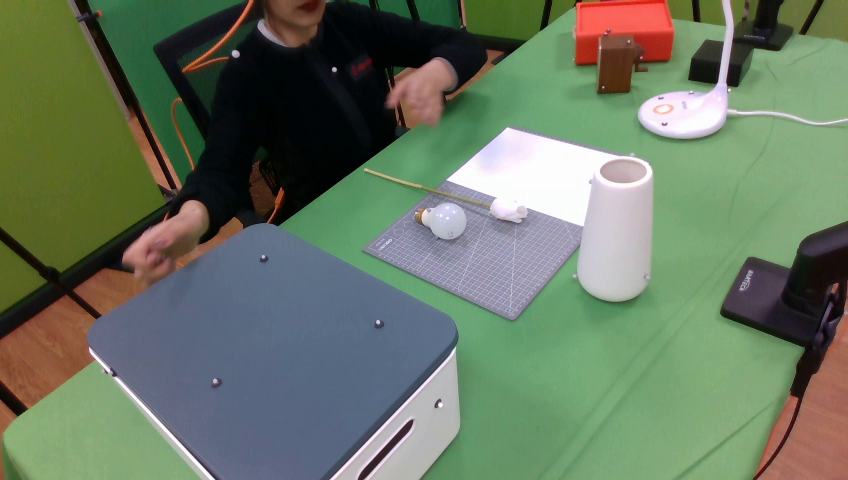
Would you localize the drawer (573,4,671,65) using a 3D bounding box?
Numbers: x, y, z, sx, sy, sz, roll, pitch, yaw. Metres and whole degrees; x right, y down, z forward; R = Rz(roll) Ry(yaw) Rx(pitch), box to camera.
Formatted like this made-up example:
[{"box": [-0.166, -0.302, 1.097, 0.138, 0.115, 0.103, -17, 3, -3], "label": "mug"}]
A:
[{"box": [0.461, -0.490, 1.435, 0.211, 0.073, 0.194, 2, 40, 12], "label": "drawer"}]

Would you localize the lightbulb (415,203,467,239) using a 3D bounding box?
[{"box": [0.024, -0.034, 0.998, 0.060, 0.060, 0.107, -38, 32, -30], "label": "lightbulb"}]

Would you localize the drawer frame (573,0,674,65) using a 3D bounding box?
[{"box": [0.464, -0.492, 1.434, 0.213, 0.083, 0.201, 1, 40, 12], "label": "drawer frame"}]

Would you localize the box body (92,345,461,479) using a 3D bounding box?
[{"box": [-0.162, 0.170, 0.708, 0.361, 0.161, 0.255, 25, 50, 34], "label": "box body"}]

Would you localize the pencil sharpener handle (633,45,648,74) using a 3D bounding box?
[{"box": [0.454, -0.378, 1.262, 0.030, 0.068, 0.036, 1, 47, 13], "label": "pencil sharpener handle"}]

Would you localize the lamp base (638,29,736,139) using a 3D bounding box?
[{"box": [0.501, -0.302, 1.125, 0.179, 0.181, 0.160, -4, 40, 3], "label": "lamp base"}]

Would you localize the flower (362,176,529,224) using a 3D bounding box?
[{"box": [0.024, -0.083, 1.087, 0.359, 0.038, 0.044, 16, 16, 33], "label": "flower"}]

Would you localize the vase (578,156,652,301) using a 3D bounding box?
[{"box": [0.261, -0.011, 0.812, 0.098, 0.201, 0.097, -4, 40, 4], "label": "vase"}]

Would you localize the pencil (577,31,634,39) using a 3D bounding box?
[{"box": [0.431, -0.488, 1.443, 0.012, 0.012, 0.192, -25, 30, -18], "label": "pencil"}]

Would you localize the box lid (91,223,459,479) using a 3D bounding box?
[{"box": [-0.174, 0.102, 0.666, 0.368, 0.015, 0.264, 24, 48, 35], "label": "box lid"}]

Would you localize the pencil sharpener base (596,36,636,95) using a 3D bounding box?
[{"box": [0.406, -0.369, 1.280, 0.076, 0.107, 0.061, 1, 41, 13], "label": "pencil sharpener base"}]
